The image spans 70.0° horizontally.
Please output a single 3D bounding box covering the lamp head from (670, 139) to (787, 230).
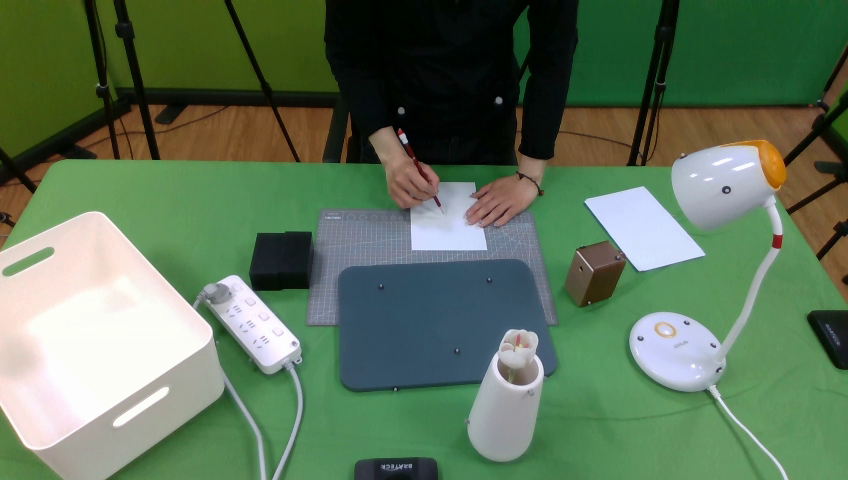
[{"bbox_3d":[0.415,-0.079,0.812,0.113,0.123,0.112,13,70,-37],"label":"lamp head"}]

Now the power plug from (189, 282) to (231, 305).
[{"bbox_3d":[-0.368,0.097,1.039,0.072,0.053,0.035,-26,55,-20],"label":"power plug"}]

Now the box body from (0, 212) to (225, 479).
[{"bbox_3d":[-0.504,0.154,0.916,0.362,0.161,0.254,36,54,27],"label":"box body"}]

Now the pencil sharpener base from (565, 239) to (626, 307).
[{"bbox_3d":[0.313,0.060,1.104,0.077,0.107,0.061,-15,49,-18],"label":"pencil sharpener base"}]

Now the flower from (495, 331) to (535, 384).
[{"bbox_3d":[0.110,0.187,0.791,0.044,0.363,0.038,-32,65,-10],"label":"flower"}]

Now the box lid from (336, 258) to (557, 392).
[{"bbox_3d":[0.030,0.140,1.073,0.372,0.015,0.261,-3,47,-7],"label":"box lid"}]

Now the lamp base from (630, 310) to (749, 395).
[{"bbox_3d":[0.447,0.142,0.984,0.161,0.181,0.178,-24,55,-24],"label":"lamp base"}]

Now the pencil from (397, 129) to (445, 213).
[{"bbox_3d":[-0.004,-0.138,1.224,0.012,0.194,0.012,-28,16,8],"label":"pencil"}]

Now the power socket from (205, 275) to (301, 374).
[{"bbox_3d":[-0.296,0.140,1.035,0.072,0.033,0.225,-32,57,-29],"label":"power socket"}]

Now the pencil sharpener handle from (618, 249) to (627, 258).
[{"bbox_3d":[0.359,0.036,1.113,0.031,0.068,0.036,-15,61,-18],"label":"pencil sharpener handle"}]

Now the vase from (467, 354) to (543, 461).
[{"bbox_3d":[0.116,0.234,0.861,0.098,0.201,0.097,1,47,-1],"label":"vase"}]
